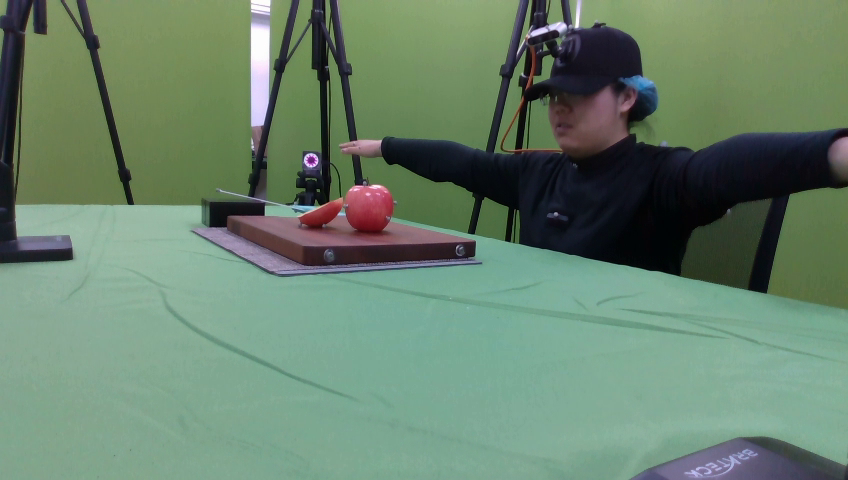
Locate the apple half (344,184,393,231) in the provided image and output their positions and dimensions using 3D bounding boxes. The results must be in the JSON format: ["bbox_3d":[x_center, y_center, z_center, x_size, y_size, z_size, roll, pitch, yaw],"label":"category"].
[{"bbox_3d":[-0.079,-0.049,0.947,0.053,0.074,0.081,15,10,41],"label":"apple half"}]

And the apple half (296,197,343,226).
[{"bbox_3d":[-0.163,-0.041,0.979,0.081,0.033,0.081,-21,7,3],"label":"apple half"}]

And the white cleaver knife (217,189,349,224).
[{"bbox_3d":[-0.275,-0.066,1.233,0.288,0.021,0.065,11,6,-29],"label":"white cleaver knife"}]
